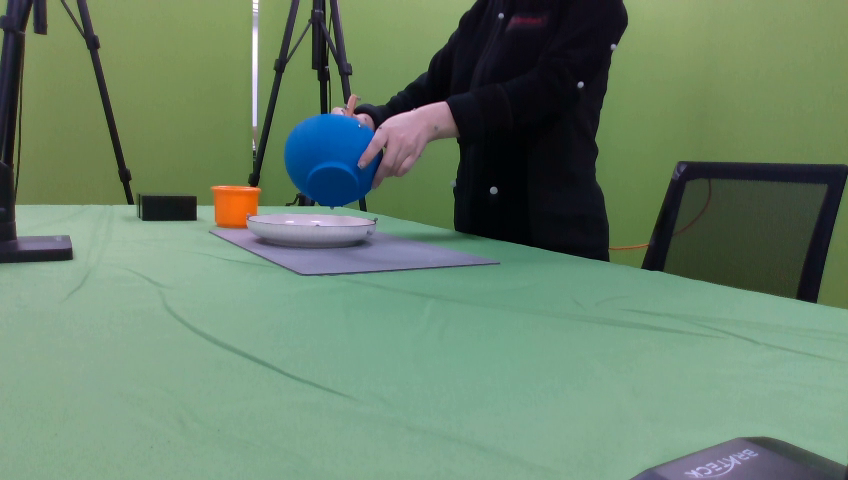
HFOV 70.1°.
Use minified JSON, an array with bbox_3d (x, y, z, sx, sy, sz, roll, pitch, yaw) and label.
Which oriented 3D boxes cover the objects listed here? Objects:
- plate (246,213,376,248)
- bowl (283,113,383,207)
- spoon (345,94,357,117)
[{"bbox_3d":[-0.185,-0.017,0.994,0.209,0.038,0.209,3,8,0],"label":"plate"},{"bbox_3d":[-0.134,-0.101,0.887,0.152,0.151,0.076,1,43,-7],"label":"bowl"},{"bbox_3d":[-0.138,-0.164,0.996,0.041,0.193,0.021,8,-29,3],"label":"spoon"}]
